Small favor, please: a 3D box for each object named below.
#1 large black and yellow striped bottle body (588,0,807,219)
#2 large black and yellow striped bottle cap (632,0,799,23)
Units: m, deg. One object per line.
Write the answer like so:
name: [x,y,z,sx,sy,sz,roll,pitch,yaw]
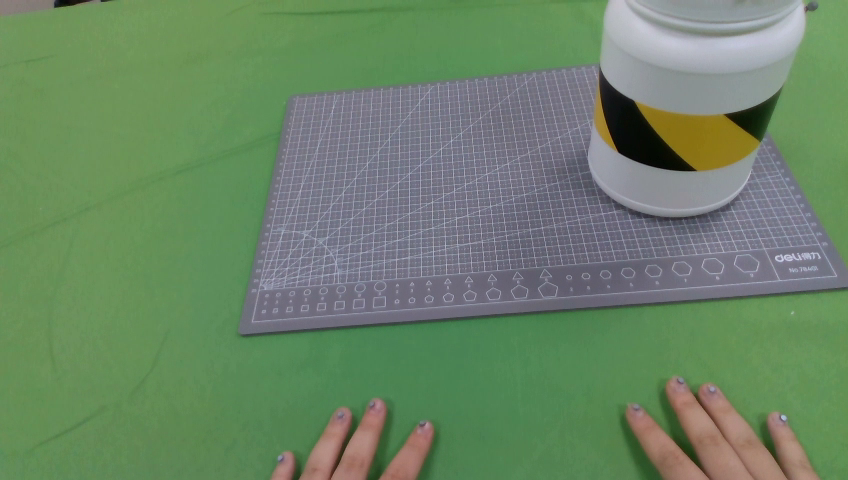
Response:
large black and yellow striped bottle body: [0.196,-0.121,0.452,0.130,0.186,0.129,-4,49,5]
large black and yellow striped bottle cap: [0.185,-0.176,0.389,0.115,0.019,0.114,-3,49,4]
